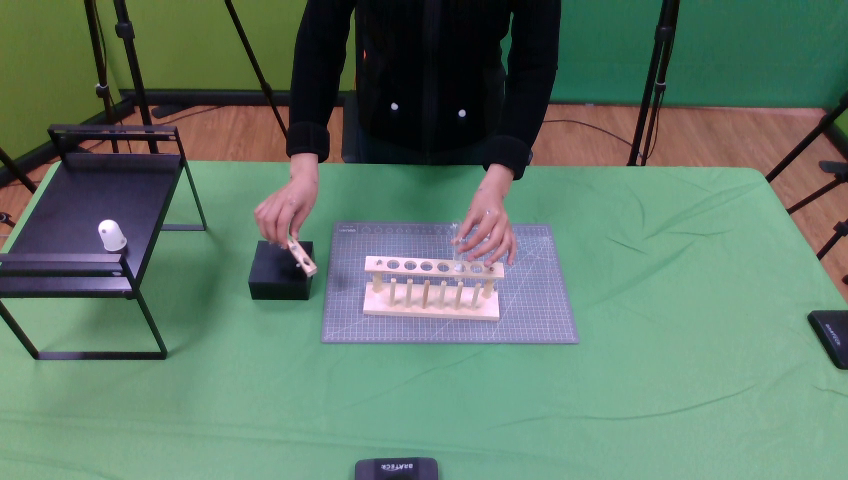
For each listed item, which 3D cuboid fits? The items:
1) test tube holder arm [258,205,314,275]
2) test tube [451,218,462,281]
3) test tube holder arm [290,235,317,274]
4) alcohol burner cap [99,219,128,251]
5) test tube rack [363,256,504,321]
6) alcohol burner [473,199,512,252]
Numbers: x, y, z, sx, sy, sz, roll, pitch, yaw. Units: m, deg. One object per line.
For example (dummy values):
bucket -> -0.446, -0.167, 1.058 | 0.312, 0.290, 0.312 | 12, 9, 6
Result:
test tube holder arm -> -0.242, -0.003, 1.050 | 0.013, 0.015, 0.177 | -27, 59, -33
test tube -> 0.056, 0.019, 1.018 | 0.017, 0.151, 0.017 | -2, 48, 3
test tube holder arm -> -0.209, 0.024, 1.033 | 0.010, 0.015, 0.087 | -25, 57, -32
alcohol burner cap -> -0.467, -0.010, 0.907 | 0.034, 0.048, 0.033 | 2, 47, -2
test tube rack -> 0.015, 0.085, 1.069 | 0.242, 0.085, 0.066 | 3, 46, -2
alcohol burner -> 0.135, -0.034, 1.174 | 0.078, 0.120, 0.077 | 1, 47, -1
